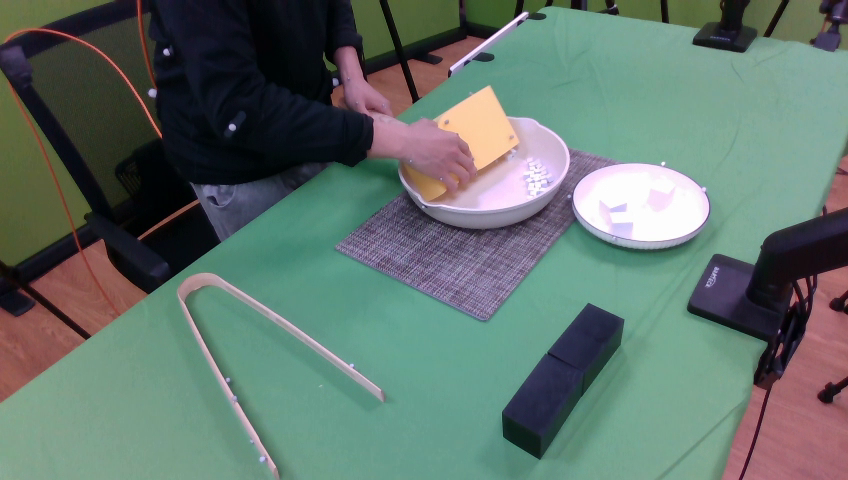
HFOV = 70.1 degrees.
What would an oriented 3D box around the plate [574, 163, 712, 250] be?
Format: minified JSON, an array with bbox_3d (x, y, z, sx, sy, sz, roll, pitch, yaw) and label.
[{"bbox_3d":[0.345,-0.050,0.966,0.207,0.039,0.206,-4,40,4],"label":"plate"}]

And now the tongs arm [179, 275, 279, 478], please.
[{"bbox_3d":[-0.260,0.161,0.807,0.051,0.026,0.381,-28,44,-25],"label":"tongs arm"}]

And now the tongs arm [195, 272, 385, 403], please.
[{"bbox_3d":[-0.198,0.126,0.847,0.384,0.028,0.028,25,52,32],"label":"tongs arm"}]

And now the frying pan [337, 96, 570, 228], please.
[{"bbox_3d":[0.023,-0.167,1.090,0.484,0.103,0.308,32,52,26],"label":"frying pan"}]

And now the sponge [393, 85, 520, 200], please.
[{"bbox_3d":[0.061,-0.172,1.070,0.207,0.118,0.060,-37,12,-27],"label":"sponge"}]
